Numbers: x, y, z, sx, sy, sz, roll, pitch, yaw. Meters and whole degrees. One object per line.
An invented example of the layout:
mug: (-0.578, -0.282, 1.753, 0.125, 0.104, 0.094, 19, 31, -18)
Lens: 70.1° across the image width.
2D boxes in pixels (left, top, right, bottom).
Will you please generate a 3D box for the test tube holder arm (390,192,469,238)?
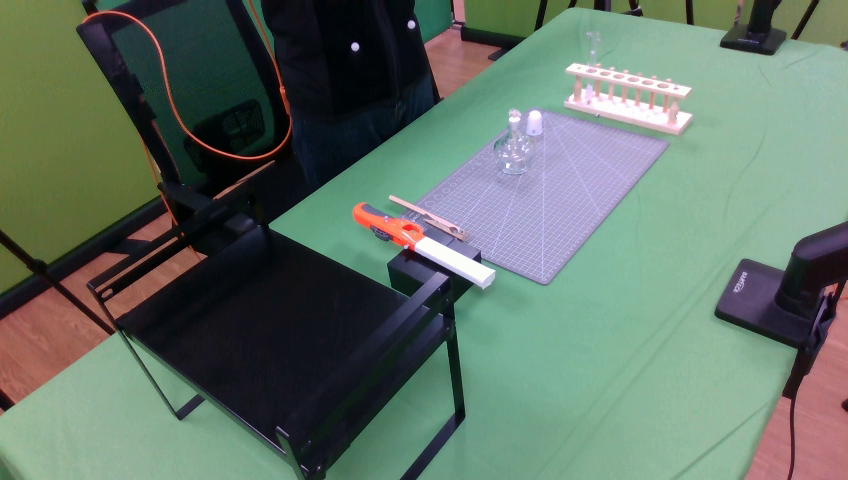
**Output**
test tube holder arm: (0.006, -0.044, 1.019, 0.177, 0.015, 0.013, 32, 84, 36)

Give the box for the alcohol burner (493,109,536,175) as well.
alcohol burner: (0.163, -0.179, 1.087, 0.078, 0.119, 0.077, -5, 39, 5)

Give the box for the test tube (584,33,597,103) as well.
test tube: (0.330, -0.338, 1.199, 0.017, 0.151, 0.017, -5, 45, 5)

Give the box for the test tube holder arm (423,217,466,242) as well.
test tube holder arm: (0.033, -0.020, 0.992, 0.087, 0.015, 0.010, 32, 84, 36)

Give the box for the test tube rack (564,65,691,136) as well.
test tube rack: (0.404, -0.287, 1.204, 0.240, 0.085, 0.067, 24, 49, 32)

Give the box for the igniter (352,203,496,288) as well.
igniter: (-0.011, 0.002, 0.899, 0.274, 0.025, 0.057, 27, 45, 33)

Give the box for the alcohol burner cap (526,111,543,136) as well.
alcohol burner cap: (0.219, -0.232, 1.196, 0.034, 0.048, 0.033, -4, 41, 4)
